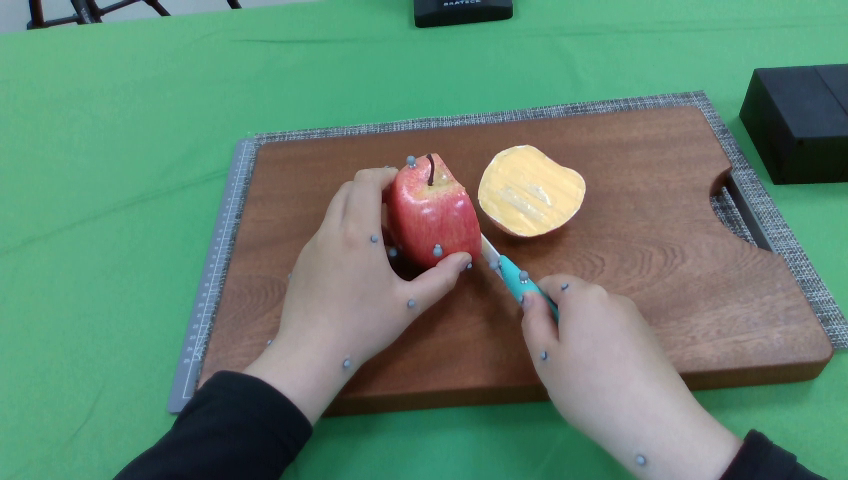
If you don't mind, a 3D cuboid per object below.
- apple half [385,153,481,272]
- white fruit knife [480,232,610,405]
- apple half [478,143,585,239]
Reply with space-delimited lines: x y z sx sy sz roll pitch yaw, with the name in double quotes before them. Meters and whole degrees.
"apple half" 0.001 -0.014 0.425 0.053 0.075 0.080 -23 53 -9
"white fruit knife" 0.056 0.023 0.405 0.016 0.028 0.205 -24 47 -15
"apple half" 0.078 -0.030 0.460 0.081 0.033 0.080 -1 63 3
